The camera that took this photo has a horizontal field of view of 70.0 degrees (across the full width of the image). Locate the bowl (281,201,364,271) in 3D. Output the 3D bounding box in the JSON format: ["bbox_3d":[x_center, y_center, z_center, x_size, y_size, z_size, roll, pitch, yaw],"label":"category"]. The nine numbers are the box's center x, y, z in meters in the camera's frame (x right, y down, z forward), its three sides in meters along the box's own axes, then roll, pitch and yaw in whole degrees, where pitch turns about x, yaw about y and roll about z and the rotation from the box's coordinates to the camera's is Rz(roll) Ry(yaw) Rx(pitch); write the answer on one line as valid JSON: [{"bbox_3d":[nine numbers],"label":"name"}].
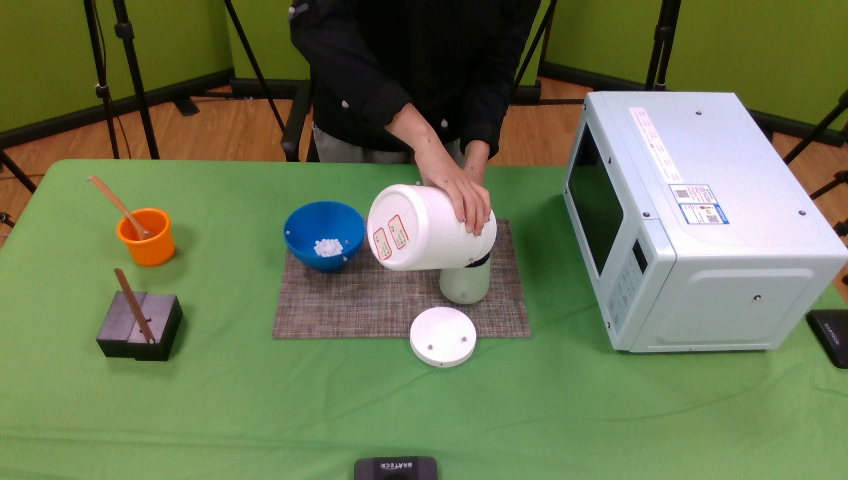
[{"bbox_3d":[-0.187,0.005,1.137,0.151,0.077,0.150,3,46,-3],"label":"bowl"}]

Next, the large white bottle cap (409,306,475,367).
[{"bbox_3d":[0.031,0.164,1.040,0.115,0.018,0.114,3,50,-3],"label":"large white bottle cap"}]

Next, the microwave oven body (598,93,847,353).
[{"bbox_3d":[0.475,-0.041,1.109,0.326,0.261,0.438,-1,45,-4],"label":"microwave oven body"}]

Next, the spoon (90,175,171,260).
[{"bbox_3d":[-0.539,-0.042,1.112,0.041,0.194,0.021,-45,19,-32],"label":"spoon"}]

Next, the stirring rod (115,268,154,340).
[{"bbox_3d":[-0.479,0.103,0.999,0.014,0.006,0.175,7,32,-49],"label":"stirring rod"}]

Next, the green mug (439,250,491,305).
[{"bbox_3d":[0.072,0.044,1.101,0.092,0.105,0.124,-6,47,-9],"label":"green mug"}]

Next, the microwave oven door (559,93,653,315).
[{"bbox_3d":[0.327,-0.074,1.123,0.039,0.245,0.353,-1,46,-5],"label":"microwave oven door"}]

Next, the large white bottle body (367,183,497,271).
[{"bbox_3d":[0.017,-0.019,0.960,0.185,0.131,0.130,0,38,-45],"label":"large white bottle body"}]

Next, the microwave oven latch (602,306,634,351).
[{"bbox_3d":[0.332,0.153,1.044,0.030,0.029,0.078,0,45,-4],"label":"microwave oven latch"}]
